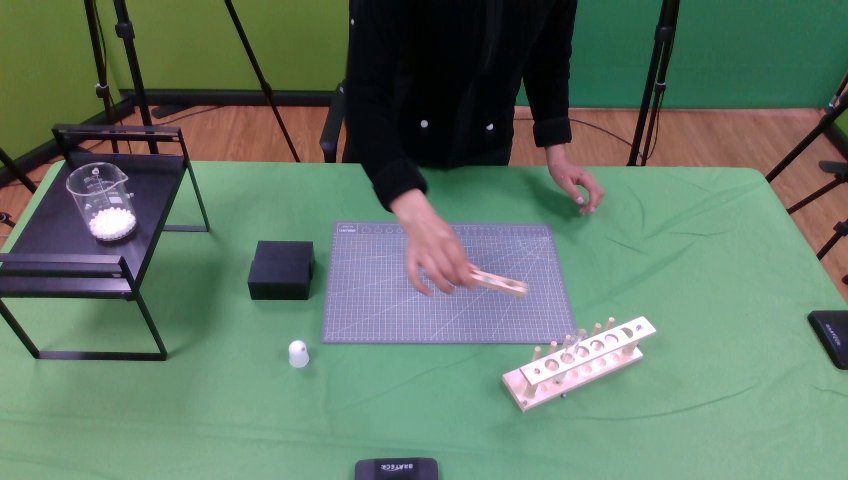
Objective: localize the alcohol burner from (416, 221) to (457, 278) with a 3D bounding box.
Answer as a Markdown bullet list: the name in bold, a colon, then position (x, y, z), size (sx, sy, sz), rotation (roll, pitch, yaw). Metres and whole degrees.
- **alcohol burner**: position (0.024, 0.013, 1.116), size (0.078, 0.120, 0.077), rotation (1, 45, -1)

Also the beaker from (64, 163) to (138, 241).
- **beaker**: position (-0.477, -0.055, 0.910), size (0.084, 0.101, 0.073), rotation (-9, 48, -13)

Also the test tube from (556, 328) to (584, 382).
- **test tube**: position (0.221, 0.178, 0.926), size (0.017, 0.151, 0.017), rotation (0, 51, 0)

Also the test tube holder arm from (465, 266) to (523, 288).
- **test tube holder arm**: position (0.097, 0.055, 0.858), size (0.087, 0.015, 0.010), rotation (14, 49, 21)

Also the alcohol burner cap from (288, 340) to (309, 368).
- **alcohol burner cap**: position (-0.206, 0.183, 0.991), size (0.034, 0.048, 0.033), rotation (2, 47, -2)

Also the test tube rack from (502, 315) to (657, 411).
- **test tube rack**: position (0.253, 0.186, 0.989), size (0.242, 0.085, 0.066), rotation (-18, 50, -20)

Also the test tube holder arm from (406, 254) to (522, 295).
- **test tube holder arm**: position (0.054, 0.048, 0.871), size (0.178, 0.015, 0.013), rotation (14, 49, 20)
